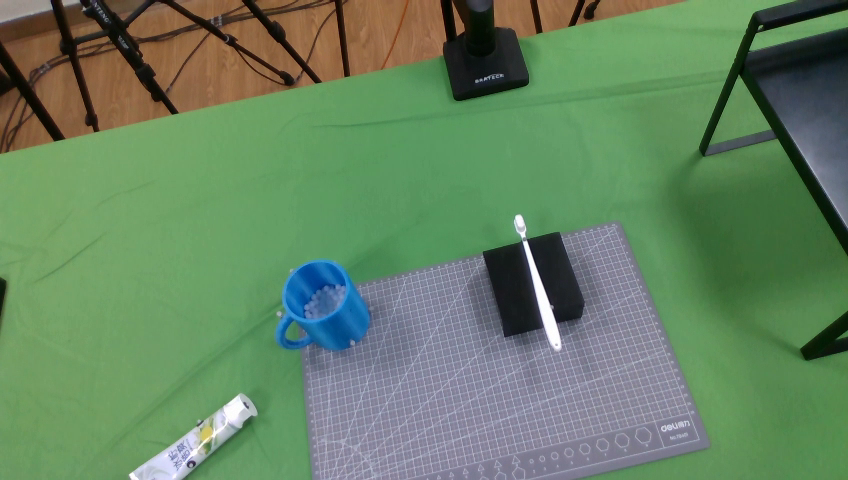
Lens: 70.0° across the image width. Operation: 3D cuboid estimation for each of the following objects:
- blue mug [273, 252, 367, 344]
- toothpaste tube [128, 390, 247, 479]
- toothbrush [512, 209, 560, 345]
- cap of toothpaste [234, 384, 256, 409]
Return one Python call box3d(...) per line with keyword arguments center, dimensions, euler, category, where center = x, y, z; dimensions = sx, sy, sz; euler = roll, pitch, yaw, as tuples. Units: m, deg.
box3d(center=(-0.134, 0.084, 0.751), dimensions=(0.116, 0.107, 0.081), euler=(-39, 64, -11), category="blue mug")
box3d(center=(-0.285, 0.243, 0.742), dimensions=(0.165, 0.035, 0.054), euler=(-39, 60, -7), category="toothpaste tube")
box3d(center=(0.134, 0.040, 0.728), dimensions=(0.014, 0.017, 0.180), euler=(-10, 63, -4), category="toothbrush")
box3d(center=(-0.223, 0.195, 0.750), dimensions=(0.011, 0.037, 0.037), euler=(-39, 64, -7), category="cap of toothpaste")
